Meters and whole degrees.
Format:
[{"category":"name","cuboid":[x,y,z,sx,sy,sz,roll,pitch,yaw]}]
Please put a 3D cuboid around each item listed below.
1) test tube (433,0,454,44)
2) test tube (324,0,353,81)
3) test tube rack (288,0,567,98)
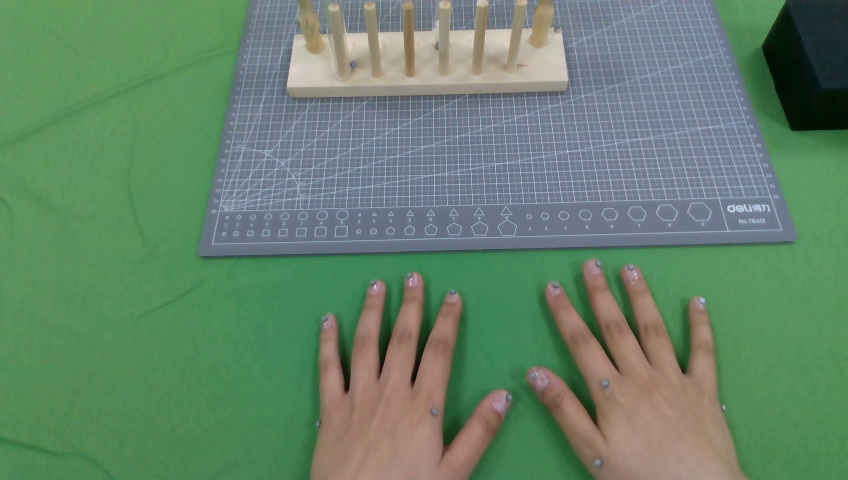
[{"category":"test tube","cuboid":[0.019,-0.218,0.477,0.017,0.151,0.017,2,57,-3]},{"category":"test tube","cuboid":[-0.069,-0.183,0.466,0.017,0.151,0.017,1,59,-1]},{"category":"test tube rack","cuboid":[0.001,-0.177,0.511,0.242,0.086,0.066,-1,60,2]}]
